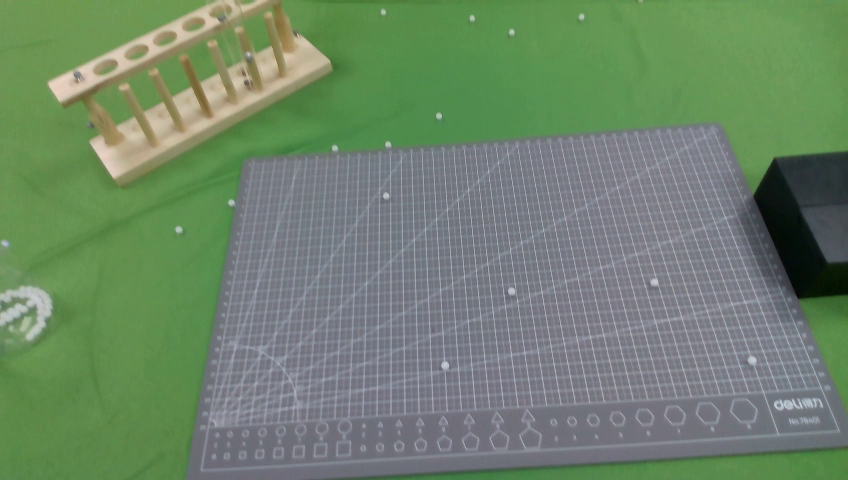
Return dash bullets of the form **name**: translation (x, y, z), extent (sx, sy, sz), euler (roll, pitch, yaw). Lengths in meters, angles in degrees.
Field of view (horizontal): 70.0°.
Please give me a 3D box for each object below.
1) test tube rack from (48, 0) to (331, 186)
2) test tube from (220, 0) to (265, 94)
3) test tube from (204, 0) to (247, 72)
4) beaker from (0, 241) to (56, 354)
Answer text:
- **test tube rack**: translation (-0.216, -0.160, 0.591), extent (0.242, 0.086, 0.066), euler (-35, 60, -18)
- **test tube**: translation (-0.173, -0.198, 0.560), extent (0.017, 0.152, 0.017), euler (-1, 53, 2)
- **test tube**: translation (-0.198, -0.223, 0.573), extent (0.017, 0.152, 0.017), euler (-4, 52, 6)
- **beaker**: translation (-0.338, 0.034, 0.458), extent (0.073, 0.101, 0.083), euler (19, 58, 16)
